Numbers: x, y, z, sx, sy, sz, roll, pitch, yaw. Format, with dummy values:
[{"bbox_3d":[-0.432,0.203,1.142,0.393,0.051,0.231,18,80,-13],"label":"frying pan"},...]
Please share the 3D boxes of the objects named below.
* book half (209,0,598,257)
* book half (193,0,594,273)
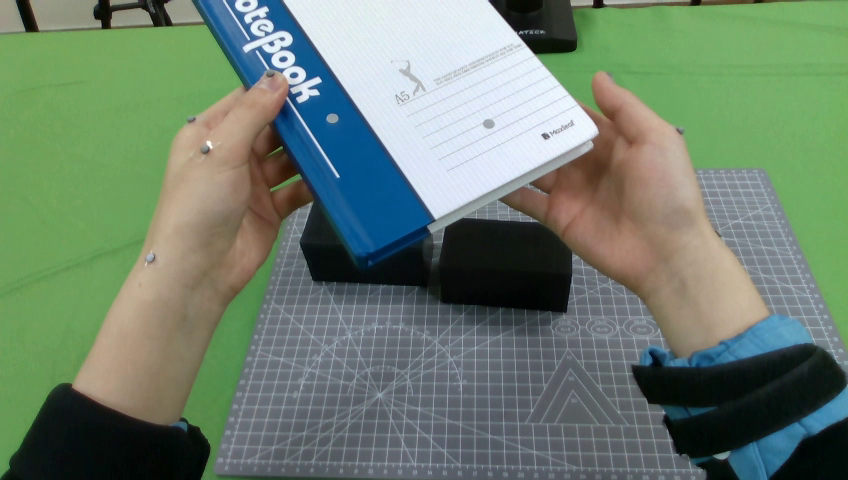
[{"bbox_3d":[-0.020,-0.104,0.340,0.143,0.007,0.208,-28,68,-15],"label":"book half"},{"bbox_3d":[-0.022,-0.098,0.344,0.149,0.016,0.208,-27,68,-16],"label":"book half"}]
